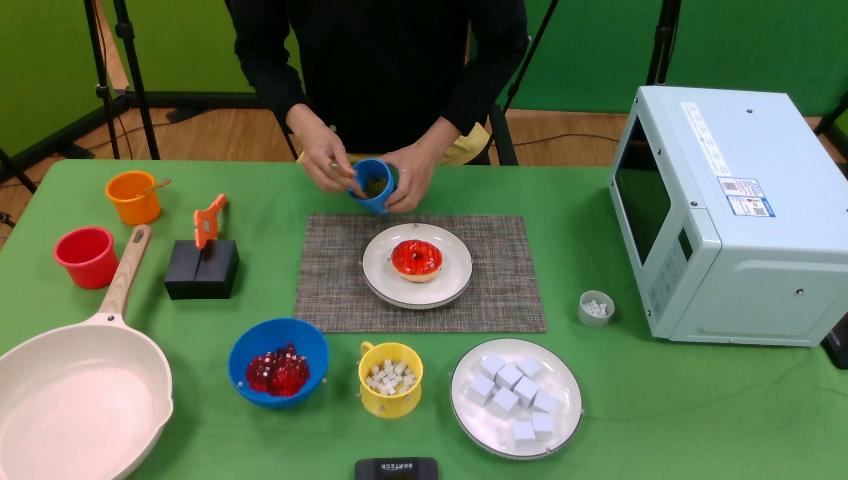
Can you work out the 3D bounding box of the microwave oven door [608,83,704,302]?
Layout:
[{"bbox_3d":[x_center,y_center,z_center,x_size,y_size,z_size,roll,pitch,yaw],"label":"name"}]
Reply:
[{"bbox_3d":[0.424,-0.096,1.138,0.039,0.245,0.353,2,47,-1],"label":"microwave oven door"}]

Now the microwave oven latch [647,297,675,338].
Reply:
[{"bbox_3d":[0.413,0.133,1.060,0.030,0.029,0.078,5,46,2],"label":"microwave oven latch"}]

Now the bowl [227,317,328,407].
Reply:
[{"bbox_3d":[-0.222,0.203,0.947,0.151,0.077,0.150,2,46,-2],"label":"bowl"}]

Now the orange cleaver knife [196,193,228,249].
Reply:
[{"bbox_3d":[-0.406,-0.041,1.163,0.012,0.077,0.210,0,18,-3],"label":"orange cleaver knife"}]

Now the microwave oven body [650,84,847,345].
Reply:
[{"bbox_3d":[0.569,-0.054,1.116,0.326,0.261,0.439,2,46,-1],"label":"microwave oven body"}]

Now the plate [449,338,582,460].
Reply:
[{"bbox_3d":[0.141,0.251,0.955,0.208,0.039,0.206,2,47,-2],"label":"plate"}]

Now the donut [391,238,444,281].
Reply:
[{"bbox_3d":[-0.012,0.035,1.128,0.099,0.048,0.098,3,43,-3],"label":"donut"}]

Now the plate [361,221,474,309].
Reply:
[{"bbox_3d":[-0.011,0.049,1.130,0.209,0.038,0.208,2,46,-2],"label":"plate"}]

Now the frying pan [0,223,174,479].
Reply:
[{"bbox_3d":[-0.505,0.169,0.941,0.307,0.103,0.485,5,54,-1],"label":"frying pan"}]

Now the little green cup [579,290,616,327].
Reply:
[{"bbox_3d":[0.308,0.124,1.086,0.061,0.039,0.061,1,45,-1],"label":"little green cup"}]

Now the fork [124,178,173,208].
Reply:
[{"bbox_3d":[-0.525,-0.089,1.153,0.207,0.019,0.028,-17,27,45],"label":"fork"}]

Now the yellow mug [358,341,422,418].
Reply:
[{"bbox_3d":[-0.063,0.210,0.961,0.100,0.064,0.130,-29,54,-28],"label":"yellow mug"}]

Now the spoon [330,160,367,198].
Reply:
[{"bbox_3d":[-0.122,-0.102,1.027,0.041,0.194,0.021,34,83,17],"label":"spoon"}]

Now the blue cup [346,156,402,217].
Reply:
[{"bbox_3d":[-0.085,-0.090,1.123,0.092,0.101,0.092,-7,66,17],"label":"blue cup"}]
